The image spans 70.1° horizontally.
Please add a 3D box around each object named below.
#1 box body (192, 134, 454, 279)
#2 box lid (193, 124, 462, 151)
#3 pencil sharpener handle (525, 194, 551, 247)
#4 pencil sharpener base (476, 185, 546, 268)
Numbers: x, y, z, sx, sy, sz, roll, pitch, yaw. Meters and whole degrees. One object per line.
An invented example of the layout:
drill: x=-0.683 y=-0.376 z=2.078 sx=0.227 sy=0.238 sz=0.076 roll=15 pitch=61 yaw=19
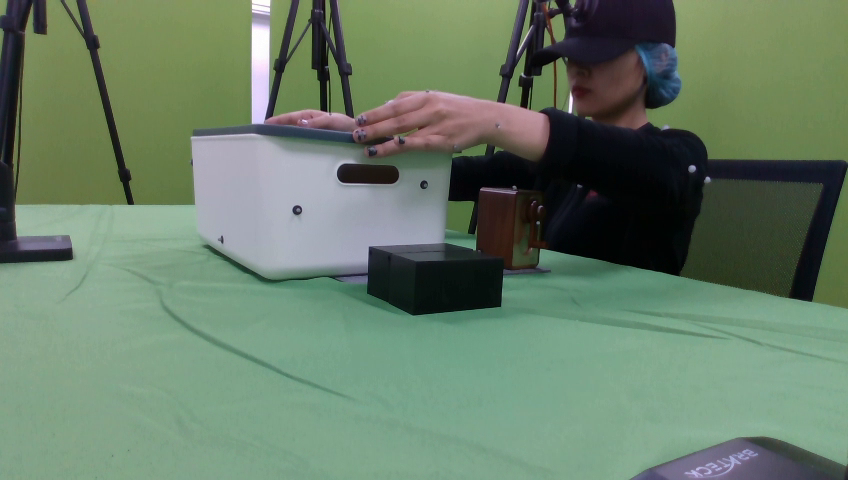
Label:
box body: x=-0.157 y=-0.058 z=0.837 sx=0.255 sy=0.160 sz=0.362 roll=-2 pitch=8 yaw=-32
box lid: x=-0.146 y=-0.136 z=0.824 sx=0.265 sy=0.015 sz=0.369 roll=-1 pitch=8 yaw=-32
pencil sharpener handle: x=0.153 y=-0.025 z=0.784 sx=0.036 sy=0.067 sz=0.030 roll=0 pitch=7 yaw=-41
pencil sharpener base: x=0.119 y=-0.019 z=0.825 sx=0.062 sy=0.107 sz=0.076 roll=-3 pitch=9 yaw=-40
